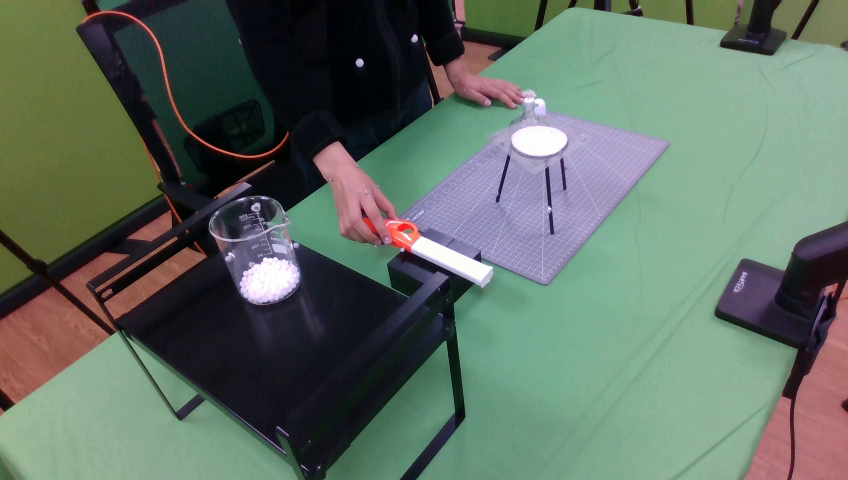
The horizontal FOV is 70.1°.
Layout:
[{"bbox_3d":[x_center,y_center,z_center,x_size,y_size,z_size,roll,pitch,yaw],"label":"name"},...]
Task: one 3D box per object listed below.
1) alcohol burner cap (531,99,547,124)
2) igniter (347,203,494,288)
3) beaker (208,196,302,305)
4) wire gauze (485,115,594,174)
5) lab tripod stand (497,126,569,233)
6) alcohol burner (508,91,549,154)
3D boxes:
[{"bbox_3d":[0.234,-0.264,1.231,0.034,0.048,0.033,-5,41,5],"label":"alcohol burner cap"},{"bbox_3d":[-0.016,0.002,0.896,0.274,0.025,0.057,25,53,32],"label":"igniter"},{"bbox_3d":[-0.173,0.014,0.647,0.084,0.101,0.073,-1,41,8],"label":"beaker"},{"bbox_3d":[0.177,-0.154,0.935,0.122,0.011,0.124,-26,45,-21],"label":"wire gauze"},{"bbox_3d":[0.188,-0.104,0.979,0.148,0.132,0.147,-3,41,3],"label":"lab tripod stand"},{"bbox_3d":[0.196,-0.223,1.134,0.078,0.119,0.077,-6,39,5],"label":"alcohol burner"}]
